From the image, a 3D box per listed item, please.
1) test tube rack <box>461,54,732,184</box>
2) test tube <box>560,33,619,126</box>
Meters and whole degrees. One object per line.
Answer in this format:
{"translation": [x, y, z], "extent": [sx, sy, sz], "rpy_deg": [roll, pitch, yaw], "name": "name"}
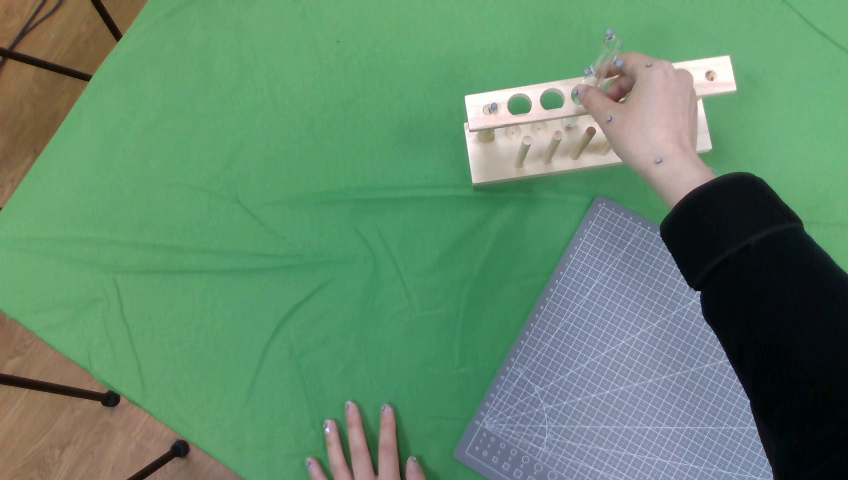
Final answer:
{"translation": [0.160, -0.113, 0.588], "extent": [0.242, 0.085, 0.066], "rpy_deg": [-8, 81, 2], "name": "test tube rack"}
{"translation": [0.144, -0.138, 0.542], "extent": [0.017, 0.151, 0.017], "rpy_deg": [0, 77, 0], "name": "test tube"}
